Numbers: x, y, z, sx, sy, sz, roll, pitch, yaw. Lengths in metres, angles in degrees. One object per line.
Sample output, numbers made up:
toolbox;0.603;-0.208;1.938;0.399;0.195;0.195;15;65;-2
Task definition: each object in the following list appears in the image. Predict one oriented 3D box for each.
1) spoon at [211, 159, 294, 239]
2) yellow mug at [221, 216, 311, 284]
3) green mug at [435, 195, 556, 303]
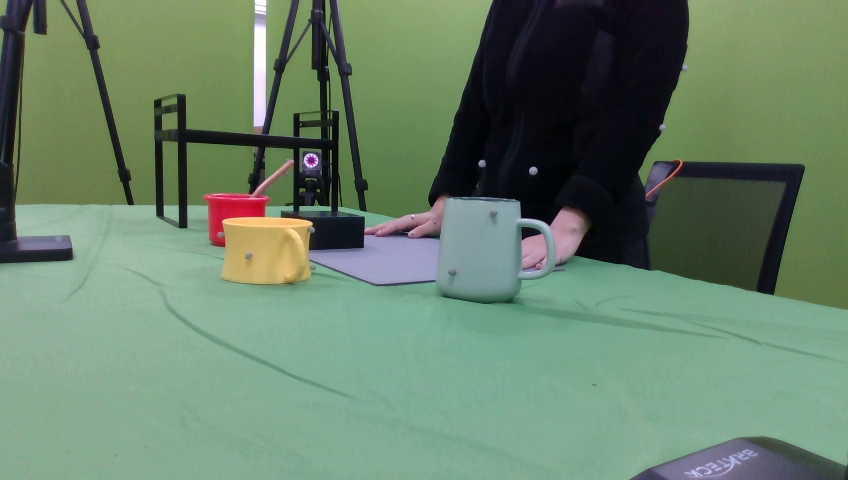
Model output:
spoon;-0.270;-0.069;0.970;0.041;0.022;0.194;4;51;43
yellow mug;-0.171;0.011;0.686;0.100;0.064;0.130;-5;11;-42
green mug;0.074;0.009;0.624;0.125;0.105;0.093;5;7;23
